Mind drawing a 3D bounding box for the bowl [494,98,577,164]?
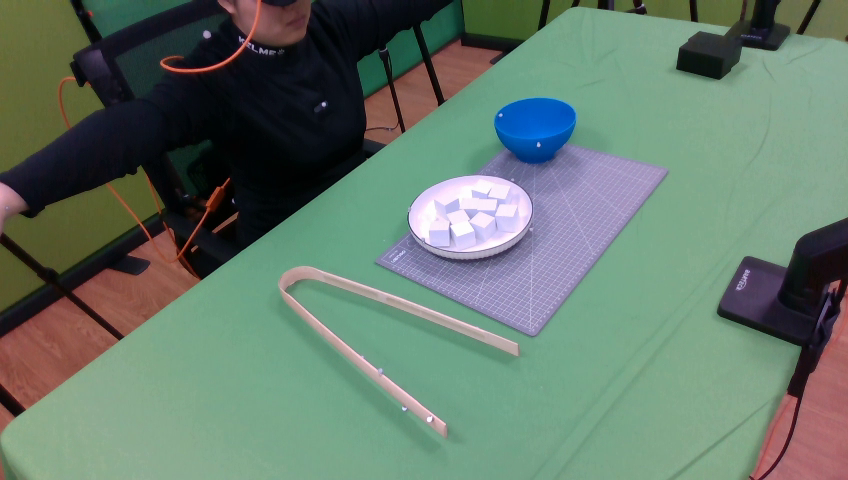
[{"bbox_3d":[0.207,-0.195,1.128,0.151,0.077,0.150,-5,40,5],"label":"bowl"}]

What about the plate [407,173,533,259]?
[{"bbox_3d":[0.076,-0.037,0.997,0.207,0.039,0.206,-5,40,5],"label":"plate"}]

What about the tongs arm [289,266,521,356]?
[{"bbox_3d":[-0.039,0.097,0.871,0.385,0.028,0.028,16,49,28],"label":"tongs arm"}]

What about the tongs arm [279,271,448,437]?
[{"bbox_3d":[-0.093,0.140,0.824,0.381,0.026,0.051,28,52,37],"label":"tongs arm"}]
